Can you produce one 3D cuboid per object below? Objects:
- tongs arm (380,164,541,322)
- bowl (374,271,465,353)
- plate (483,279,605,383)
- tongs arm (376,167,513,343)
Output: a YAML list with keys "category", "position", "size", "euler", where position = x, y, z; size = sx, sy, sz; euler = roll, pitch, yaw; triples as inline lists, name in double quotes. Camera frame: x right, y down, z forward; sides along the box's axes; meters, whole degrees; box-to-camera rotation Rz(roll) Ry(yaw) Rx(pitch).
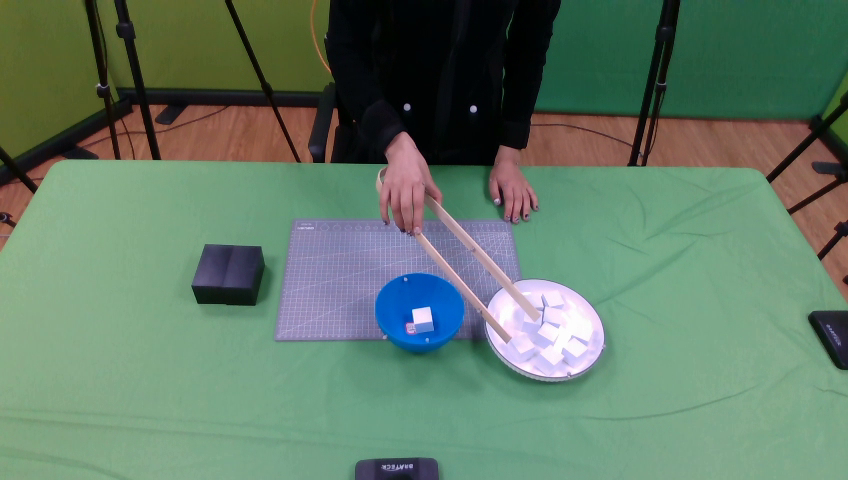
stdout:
- category: "tongs arm"
  position: [0.056, 0.002, 1.055]
  size: [0.051, 0.026, 0.383]
  euler: [-29, 68, -31]
- category: "bowl"
  position: [-0.009, 0.136, 1.024]
  size: [0.151, 0.077, 0.150]
  euler: [2, 47, -2]
- category: "plate"
  position: [0.204, 0.158, 1.046]
  size: [0.208, 0.039, 0.206]
  euler: [3, 47, -3]
- category: "tongs arm"
  position: [0.025, 0.019, 1.032]
  size: [0.028, 0.028, 0.386]
  euler: [-29, 68, -27]
